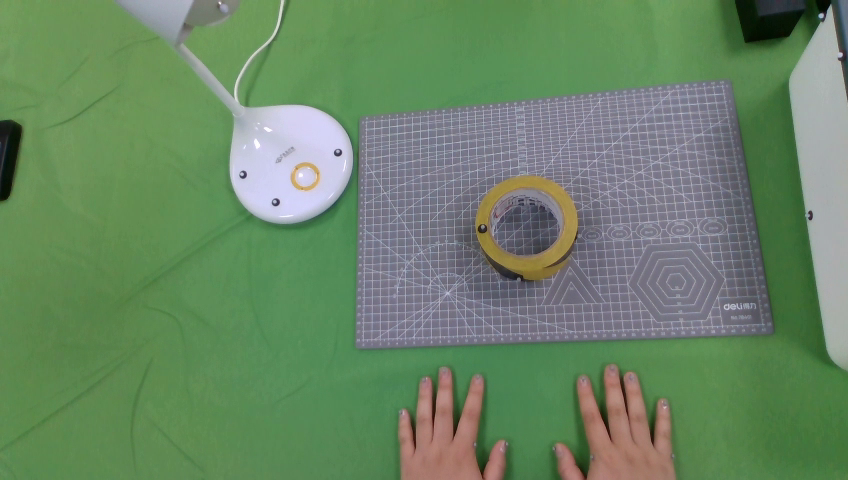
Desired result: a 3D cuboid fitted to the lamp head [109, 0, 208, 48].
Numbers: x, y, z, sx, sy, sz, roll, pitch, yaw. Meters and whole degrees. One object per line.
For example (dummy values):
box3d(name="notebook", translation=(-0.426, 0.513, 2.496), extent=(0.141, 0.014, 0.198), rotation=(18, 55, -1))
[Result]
box3d(name="lamp head", translation=(-0.198, -0.211, 0.413), extent=(0.123, 0.112, 0.112), rotation=(28, 78, -18))

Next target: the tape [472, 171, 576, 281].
box3d(name="tape", translation=(0.111, -0.016, 0.678), extent=(0.116, 0.053, 0.116), rotation=(-3, 73, 9))

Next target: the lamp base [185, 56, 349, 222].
box3d(name="lamp base", translation=(-0.196, -0.127, 0.700), extent=(0.178, 0.181, 0.160), rotation=(36, 82, 21))

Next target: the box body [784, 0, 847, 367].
box3d(name="box body", translation=(0.508, -0.060, 0.563), extent=(0.254, 0.161, 0.362), rotation=(-1, 74, 10))

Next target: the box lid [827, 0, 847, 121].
box3d(name="box lid", translation=(0.496, -0.084, 0.494), extent=(0.263, 0.015, 0.369), rotation=(-1, 74, 10))
